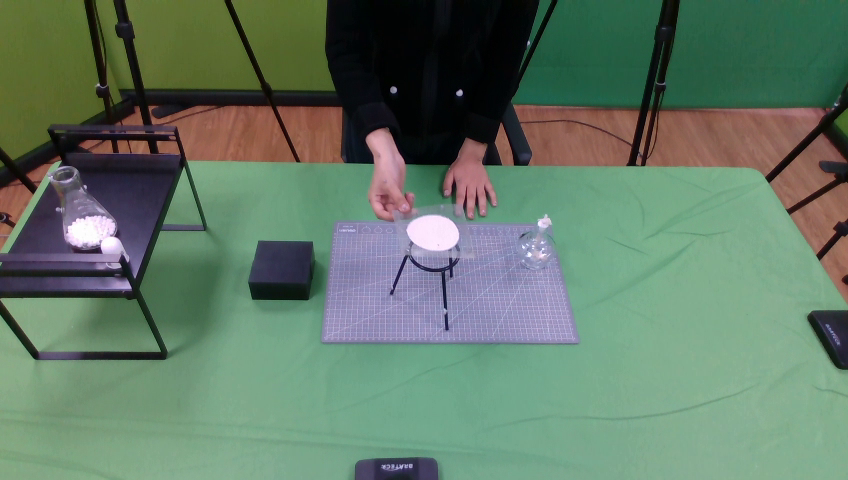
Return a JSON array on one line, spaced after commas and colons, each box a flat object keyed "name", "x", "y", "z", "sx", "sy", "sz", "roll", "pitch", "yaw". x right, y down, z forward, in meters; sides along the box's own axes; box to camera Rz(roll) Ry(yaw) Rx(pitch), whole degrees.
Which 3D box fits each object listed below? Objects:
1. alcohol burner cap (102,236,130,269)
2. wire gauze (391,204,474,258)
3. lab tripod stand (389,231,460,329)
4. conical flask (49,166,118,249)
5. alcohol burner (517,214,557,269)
[{"name": "alcohol burner cap", "x": -0.452, "y": 0.016, "z": 0.883, "sx": 0.034, "sy": 0.048, "sz": 0.033, "roll": 3, "pitch": 45, "yaw": -2}, {"name": "wire gauze", "x": 0.013, "y": -0.016, "z": 0.999, "sx": 0.125, "sy": 0.011, "sz": 0.120, "roll": -1, "pitch": 45, "yaw": -10}, {"name": "lab tripod stand", "x": 0.015, "y": 0.063, "z": 1.058, "sx": 0.148, "sy": 0.132, "sz": 0.147, "roll": 3, "pitch": 46, "yaw": -3}, {"name": "conical flask", "x": -0.505, "y": -0.051, "z": 0.888, "sx": 0.075, "sy": 0.122, "sz": 0.075, "roll": 2, "pitch": 46, "yaw": -2}, {"name": "alcohol burner", "x": 0.217, "y": -0.002, "z": 1.149, "sx": 0.078, "sy": 0.119, "sz": 0.077, "roll": 2, "pitch": 45, "yaw": -2}]
